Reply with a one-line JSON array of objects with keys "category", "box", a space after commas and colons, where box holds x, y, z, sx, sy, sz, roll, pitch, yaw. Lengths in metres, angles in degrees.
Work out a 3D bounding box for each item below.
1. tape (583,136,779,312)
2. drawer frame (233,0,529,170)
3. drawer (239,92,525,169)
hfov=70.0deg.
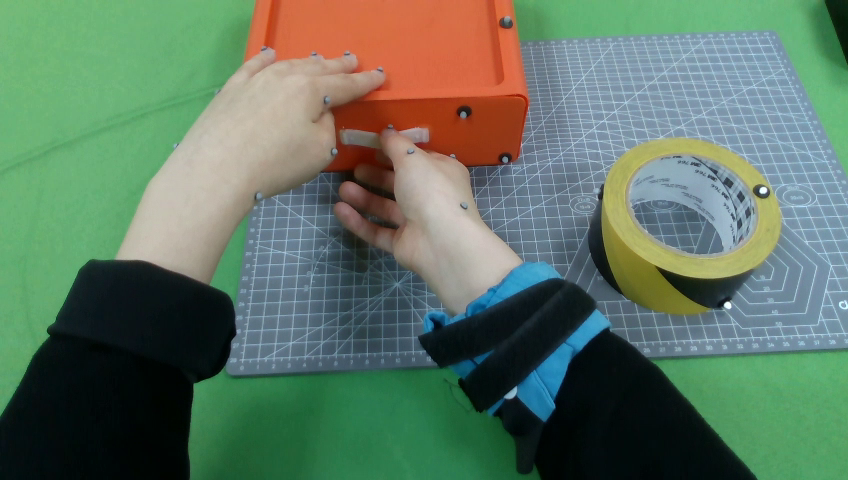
[{"category": "tape", "box": [0.171, -0.011, 0.407, 0.117, 0.053, 0.116, -1, 59, 2]}, {"category": "drawer frame", "box": [-0.031, -0.162, 0.486, 0.202, 0.083, 0.211, -3, 58, 0]}, {"category": "drawer", "box": [-0.030, -0.159, 0.485, 0.194, 0.074, 0.210, -2, 58, 1]}]
